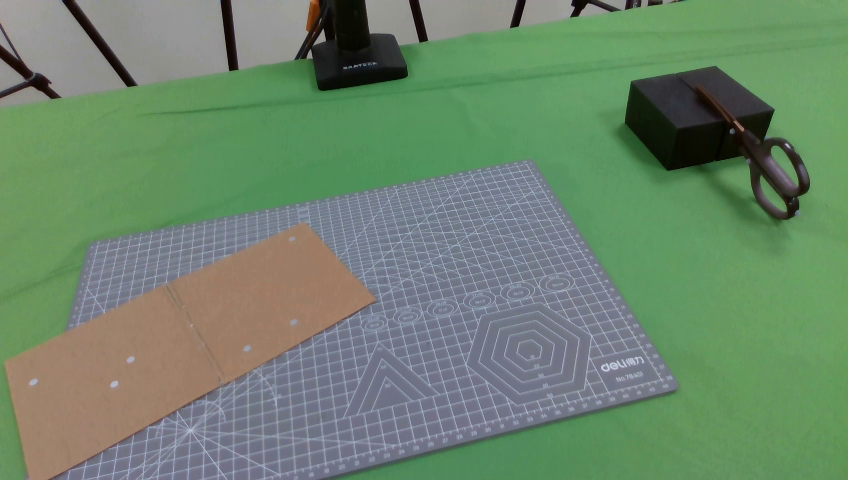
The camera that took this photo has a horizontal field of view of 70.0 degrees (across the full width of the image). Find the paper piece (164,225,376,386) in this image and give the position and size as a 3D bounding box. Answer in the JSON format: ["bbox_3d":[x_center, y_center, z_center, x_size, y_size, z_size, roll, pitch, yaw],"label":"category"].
[{"bbox_3d":[-0.133,0.047,0.519,0.138,0.009,0.134,-26,50,-24],"label":"paper piece"}]

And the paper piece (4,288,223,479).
[{"bbox_3d":[-0.242,0.103,0.465,0.136,0.004,0.134,-27,45,-23],"label":"paper piece"}]

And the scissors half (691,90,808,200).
[{"bbox_3d":[0.297,-0.098,0.565,0.013,0.040,0.173,-19,41,0],"label":"scissors half"}]

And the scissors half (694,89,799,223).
[{"bbox_3d":[0.301,-0.085,0.580,0.013,0.040,0.173,-15,59,-4],"label":"scissors half"}]
